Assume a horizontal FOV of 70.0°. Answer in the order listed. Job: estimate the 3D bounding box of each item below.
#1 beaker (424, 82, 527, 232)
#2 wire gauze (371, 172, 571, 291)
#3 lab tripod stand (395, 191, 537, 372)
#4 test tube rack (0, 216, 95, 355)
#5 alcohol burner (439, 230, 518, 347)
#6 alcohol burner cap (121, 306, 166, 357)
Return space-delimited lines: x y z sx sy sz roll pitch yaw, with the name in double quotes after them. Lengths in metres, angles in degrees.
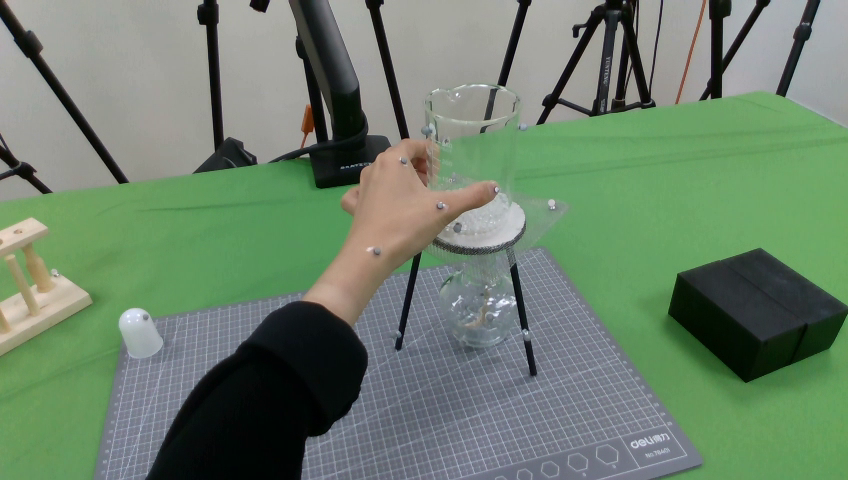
0.036 -0.065 0.478 0.074 0.101 0.083 -14 38 -17 "beaker"
0.039 -0.017 0.498 0.124 0.011 0.121 25 45 31 "wire gauze"
0.046 0.035 0.538 0.148 0.132 0.147 0 35 0 "lab tripod stand"
-0.446 0.077 0.553 0.066 0.086 0.242 22 41 31 "test tube rack"
0.052 0.039 0.550 0.078 0.120 0.077 0 37 1 "alcohol burner"
-0.264 0.083 0.567 0.034 0.048 0.033 -1 35 1 "alcohol burner cap"
